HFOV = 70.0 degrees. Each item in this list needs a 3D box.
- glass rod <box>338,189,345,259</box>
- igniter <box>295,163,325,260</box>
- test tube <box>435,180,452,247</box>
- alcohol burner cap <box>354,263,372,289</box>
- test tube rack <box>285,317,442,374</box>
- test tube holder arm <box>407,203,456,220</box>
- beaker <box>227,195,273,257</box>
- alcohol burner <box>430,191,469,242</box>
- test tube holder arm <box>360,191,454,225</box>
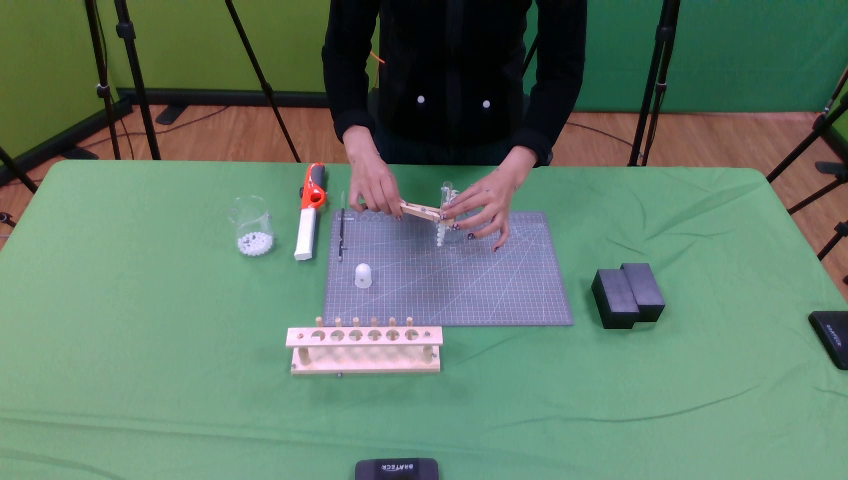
[{"bbox_3d":[-0.166,-0.036,1.227,0.008,0.008,0.198,-1,46,-4],"label":"glass rod"},{"bbox_3d":[-0.234,-0.067,1.243,0.057,0.025,0.274,-6,46,4],"label":"igniter"},{"bbox_3d":[0.033,-0.042,1.030,0.017,0.151,0.017,3,47,-3],"label":"test tube"},{"bbox_3d":[-0.113,0.063,1.111,0.034,0.048,0.033,2,45,-2],"label":"alcohol burner cap"},{"bbox_3d":[-0.095,0.166,0.988,0.242,0.085,0.066,0,46,-4],"label":"test tube rack"},{"bbox_3d":[0.012,-0.049,1.040,0.088,0.015,0.010,10,43,10],"label":"test tube holder arm"},{"bbox_3d":[-0.326,-0.022,1.142,0.074,0.101,0.083,10,47,6],"label":"beaker"},{"bbox_3d":[0.052,-0.053,1.185,0.078,0.119,0.077,2,48,-2],"label":"alcohol burner"},{"bbox_3d":[-0.032,-0.056,1.047,0.178,0.015,0.013,16,44,17],"label":"test tube holder arm"}]
